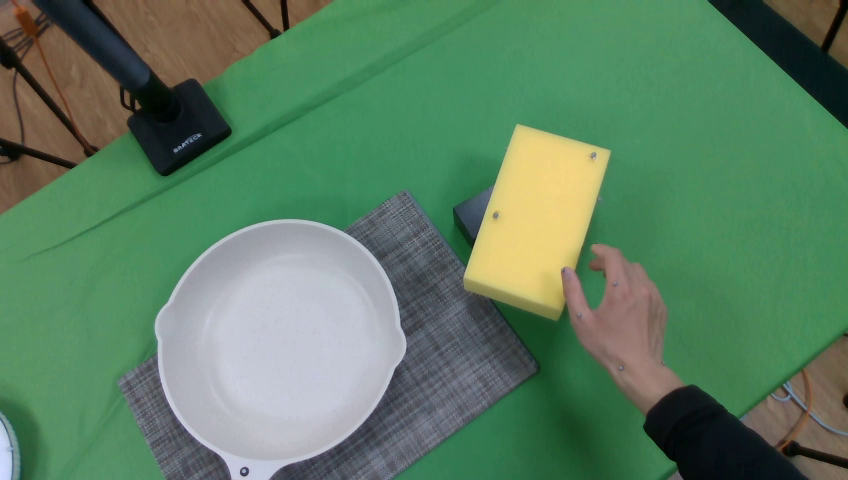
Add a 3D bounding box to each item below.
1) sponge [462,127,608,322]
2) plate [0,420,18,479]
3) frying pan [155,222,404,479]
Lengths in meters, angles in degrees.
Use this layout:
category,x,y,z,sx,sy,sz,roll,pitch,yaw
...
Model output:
category,x,y,z,sx,sy,sz,roll,pitch,yaw
sponge,0.133,-0.020,0.726,0.118,0.061,0.206,17,74,10
plate,-0.596,0.304,0.744,0.207,0.039,0.206,-1,72,4
frying pan,-0.187,0.216,0.701,0.306,0.103,0.484,6,64,8
